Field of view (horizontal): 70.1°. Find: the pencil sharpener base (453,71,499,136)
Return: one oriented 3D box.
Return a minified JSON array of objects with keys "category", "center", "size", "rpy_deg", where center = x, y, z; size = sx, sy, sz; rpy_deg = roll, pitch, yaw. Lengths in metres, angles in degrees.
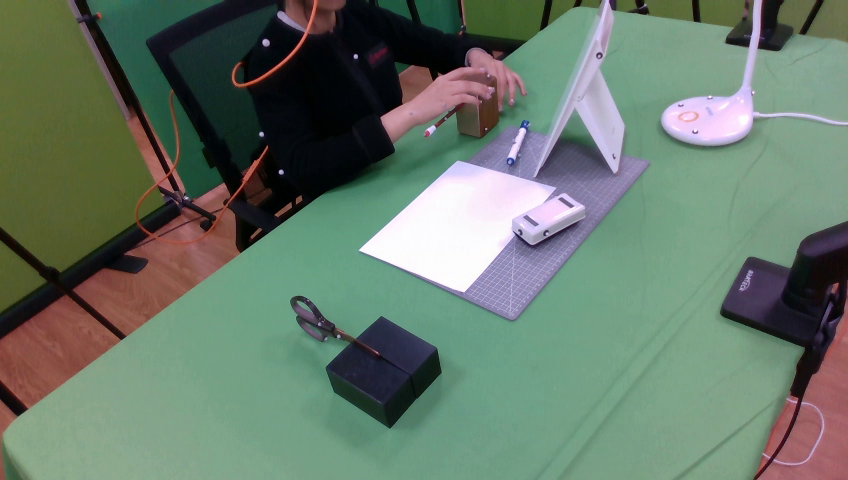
[{"category":"pencil sharpener base","center":[0.108,-0.276,1.219],"size":[0.061,0.107,0.077],"rpy_deg":[20,48,31]}]

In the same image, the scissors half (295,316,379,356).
[{"category":"scissors half","center":[-0.119,0.131,0.813],"size":[0.173,0.040,0.013],"rpy_deg":[9,34,45]}]

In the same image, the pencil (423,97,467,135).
[{"category":"pencil","center":[0.055,-0.251,1.156],"size":[0.012,0.012,0.194],"rpy_deg":[20,49,30]}]

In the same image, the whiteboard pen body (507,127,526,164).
[{"category":"whiteboard pen body","center":[0.181,-0.189,1.162],"size":[0.017,0.017,0.140],"rpy_deg":[8,42,19]}]

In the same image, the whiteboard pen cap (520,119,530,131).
[{"category":"whiteboard pen cap","center":[0.200,-0.226,1.204],"size":[0.018,0.018,0.033],"rpy_deg":[7,41,18]}]

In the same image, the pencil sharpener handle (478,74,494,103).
[{"category":"pencil sharpener handle","center":[0.133,-0.316,1.242],"size":[0.036,0.068,0.031],"rpy_deg":[28,52,22]}]

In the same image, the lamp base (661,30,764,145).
[{"category":"lamp base","center":[0.535,-0.287,1.096],"size":[0.179,0.181,0.159],"rpy_deg":[-10,40,-4]}]

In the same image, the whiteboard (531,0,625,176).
[{"category":"whiteboard","center":[0.320,-0.258,1.050],"size":[0.144,0.306,0.217],"rpy_deg":[22,45,5]}]

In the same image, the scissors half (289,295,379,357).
[{"category":"scissors half","center":[-0.122,0.114,0.803],"size":[0.174,0.040,0.013],"rpy_deg":[26,50,32]}]

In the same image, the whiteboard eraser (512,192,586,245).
[{"category":"whiteboard eraser","center":[0.199,-0.032,0.962],"size":[0.113,0.042,0.055],"rpy_deg":[-27,42,-20]}]
